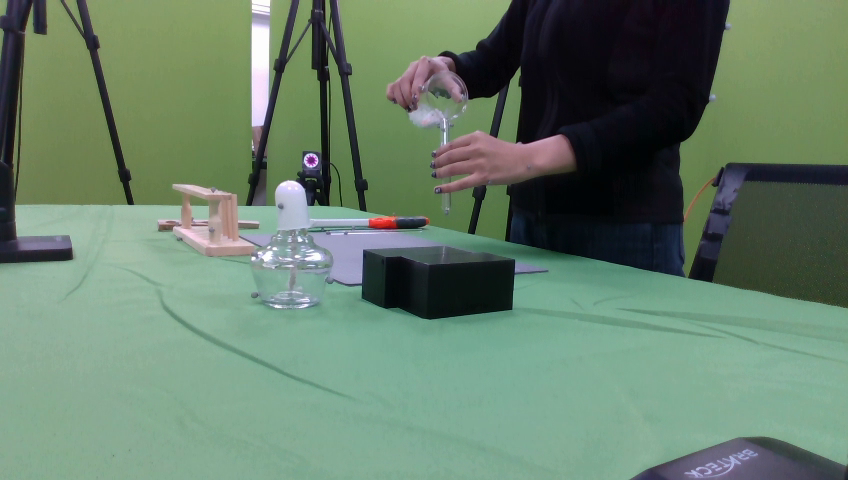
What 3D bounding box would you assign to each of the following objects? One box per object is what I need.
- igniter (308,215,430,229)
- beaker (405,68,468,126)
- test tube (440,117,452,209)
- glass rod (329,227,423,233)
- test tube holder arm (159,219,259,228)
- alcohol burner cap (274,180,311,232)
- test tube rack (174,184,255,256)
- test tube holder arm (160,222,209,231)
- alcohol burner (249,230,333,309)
[{"bbox_3d":[-0.108,-0.037,1.228,0.278,0.025,0.057,-3,-1,-35],"label":"igniter"},{"bbox_3d":[0.017,-0.226,0.988,0.074,0.084,0.100,4,-3,-24],"label":"beaker"},{"bbox_3d":[0.033,-0.118,0.924,0.017,0.150,0.017,0,-16,0],"label":"test tube"},{"bbox_3d":[-0.087,-0.020,1.148,0.201,0.008,0.008,-3,8,-32],"label":"glass rod"},{"bbox_3d":[-0.390,-0.030,1.107,0.179,0.015,0.013,-3,45,-39],"label":"test tube holder arm"},{"bbox_3d":[-0.125,-0.032,0.563,0.034,0.048,0.034,-5,6,1],"label":"alcohol burner cap"},{"bbox_3d":[-0.327,-0.036,0.928,0.067,0.085,0.241,-2,9,-32],"label":"test tube rack"},{"bbox_3d":[-0.423,-0.024,1.076,0.088,0.015,0.010,-3,45,-38],"label":"test tube holder arm"},{"bbox_3d":[-0.125,0.004,0.568,0.078,0.119,0.078,2,10,0],"label":"alcohol burner"}]
